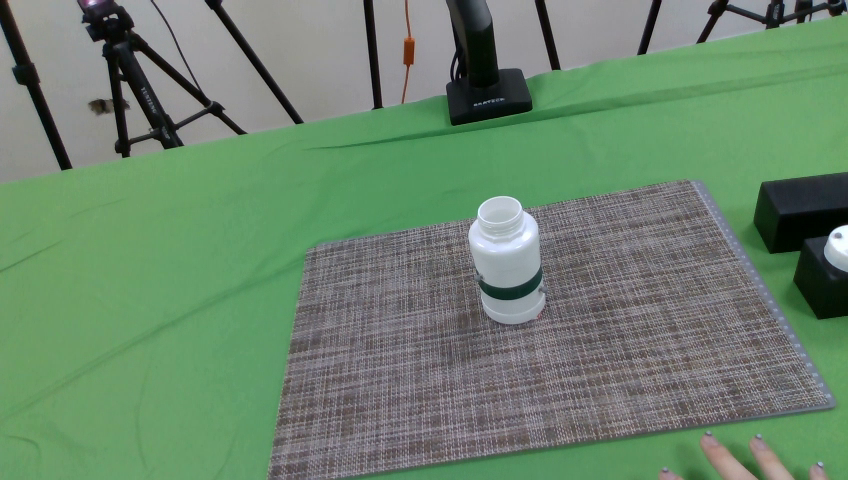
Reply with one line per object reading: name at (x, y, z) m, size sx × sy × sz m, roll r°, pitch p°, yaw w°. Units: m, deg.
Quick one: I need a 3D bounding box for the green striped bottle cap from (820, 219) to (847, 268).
green striped bottle cap at (0.353, 0.003, 0.497) m, size 0.044 × 0.020 × 0.044 m, roll -6°, pitch 42°, yaw 6°

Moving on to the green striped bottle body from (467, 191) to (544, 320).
green striped bottle body at (0.075, 0.013, 0.559) m, size 0.063 × 0.120 × 0.062 m, roll -8°, pitch 42°, yaw 8°
